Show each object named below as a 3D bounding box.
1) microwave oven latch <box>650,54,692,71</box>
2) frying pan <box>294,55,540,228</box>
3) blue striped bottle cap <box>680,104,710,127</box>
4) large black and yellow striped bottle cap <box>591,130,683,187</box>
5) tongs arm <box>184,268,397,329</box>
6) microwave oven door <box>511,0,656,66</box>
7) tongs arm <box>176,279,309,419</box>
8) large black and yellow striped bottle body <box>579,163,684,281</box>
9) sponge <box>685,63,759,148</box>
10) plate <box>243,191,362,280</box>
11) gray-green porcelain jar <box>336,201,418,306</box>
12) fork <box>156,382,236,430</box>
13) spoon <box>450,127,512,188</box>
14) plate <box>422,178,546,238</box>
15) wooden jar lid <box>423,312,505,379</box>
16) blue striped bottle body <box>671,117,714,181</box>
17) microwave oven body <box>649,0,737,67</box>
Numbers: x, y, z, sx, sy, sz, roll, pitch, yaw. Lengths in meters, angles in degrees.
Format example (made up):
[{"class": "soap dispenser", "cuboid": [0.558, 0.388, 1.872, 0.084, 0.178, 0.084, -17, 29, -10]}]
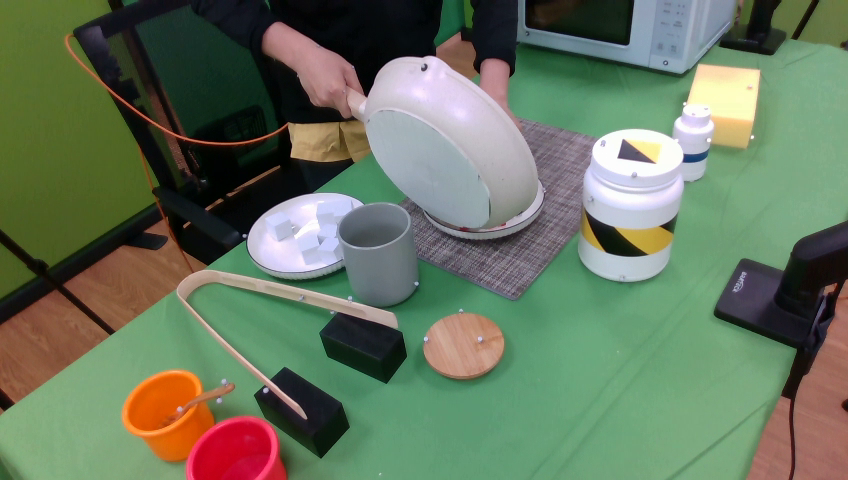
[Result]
[{"class": "microwave oven latch", "cuboid": [0.531, -0.386, 1.301, 0.078, 0.029, 0.030, 25, 51, 32]}, {"class": "frying pan", "cuboid": [-0.045, -0.176, 0.920, 0.103, 0.308, 0.484, -42, 57, -18]}, {"class": "blue striped bottle cap", "cuboid": [0.443, -0.205, 0.989, 0.044, 0.021, 0.044, -1, 41, 2]}, {"class": "large black and yellow striped bottle cap", "cuboid": [0.282, -0.111, 0.803, 0.115, 0.019, 0.114, -3, 41, 3]}, {"class": "tongs arm", "cuboid": [-0.202, 0.084, 0.848, 0.382, 0.027, 0.051, 11, 45, 34]}, {"class": "microwave oven door", "cuboid": [0.351, -0.540, 1.349, 0.353, 0.245, 0.039, 24, 50, 31]}, {"class": "tongs arm", "cuboid": [-0.254, 0.133, 0.801, 0.028, 0.028, 0.384, -41, 41, -23]}, {"class": "large black and yellow striped bottle body", "cuboid": [0.291, -0.046, 0.859, 0.131, 0.185, 0.130, -4, 41, 4]}, {"class": "sponge", "cuboid": [0.569, -0.263, 1.164, 0.117, 0.061, 0.207, 12, 45, 22]}, {"class": "plate", "cuboid": [-0.187, -0.004, 0.992, 0.207, 0.039, 0.206, -3, 41, 3]}, {"class": "gray-green porcelain jar", "cuboid": [-0.064, 0.024, 0.872, 0.106, 0.127, 0.105, -4, 40, 4]}, {"class": "fork", "cuboid": [-0.262, 0.189, 0.690, 0.018, 0.206, 0.028, 49, 43, -7]}, {"class": "spoon", "cuboid": [0.100, -0.141, 1.007, 0.041, 0.022, 0.194, -19, 18, 48]}, {"class": "plate", "cuboid": [0.100, -0.067, 1.017, 0.209, 0.038, 0.208, -4, 40, 4]}, {"class": "wooden jar lid", "cuboid": [0.053, 0.142, 0.800, 0.108, 0.021, 0.108, -5, 39, 4]}, {"class": "blue striped bottle body", "cuboid": [0.449, -0.165, 1.022, 0.063, 0.121, 0.063, -5, 41, 4]}, {"class": "microwave oven body", "cuboid": [0.475, -0.602, 1.411, 0.438, 0.261, 0.327, 24, 50, 32]}]
